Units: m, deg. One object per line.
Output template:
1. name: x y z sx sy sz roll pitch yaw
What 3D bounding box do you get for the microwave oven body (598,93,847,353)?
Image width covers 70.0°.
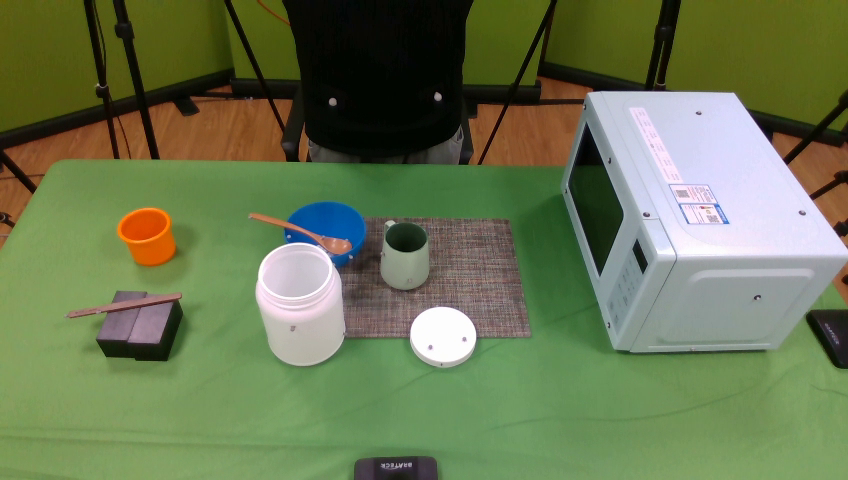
1. microwave oven body: 0.475 -0.041 1.110 0.326 0.261 0.438 -1 45 -4

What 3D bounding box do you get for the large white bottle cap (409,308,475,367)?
1. large white bottle cap: 0.031 0.166 1.041 0.115 0.018 0.114 2 47 -2

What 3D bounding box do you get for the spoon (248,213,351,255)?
1. spoon: -0.228 -0.014 1.113 0.194 0.022 0.041 23 41 -15

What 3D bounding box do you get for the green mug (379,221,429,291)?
1. green mug: -0.043 0.020 1.116 0.092 0.105 0.124 -20 50 -22

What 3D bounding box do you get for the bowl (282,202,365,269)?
1. bowl: -0.185 0.006 1.137 0.151 0.077 0.150 3 46 -3

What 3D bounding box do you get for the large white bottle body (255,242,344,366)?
1. large white bottle body: -0.196 0.102 0.967 0.131 0.185 0.130 2 49 -2

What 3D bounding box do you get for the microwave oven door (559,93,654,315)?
1. microwave oven door: 0.327 -0.074 1.123 0.039 0.245 0.353 -1 46 -5

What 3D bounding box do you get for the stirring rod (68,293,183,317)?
1. stirring rod: -0.491 0.107 1.001 0.176 0.006 0.014 -9 43 -14

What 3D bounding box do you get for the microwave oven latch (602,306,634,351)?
1. microwave oven latch: 0.332 0.153 1.044 0.030 0.029 0.078 -1 45 -4
